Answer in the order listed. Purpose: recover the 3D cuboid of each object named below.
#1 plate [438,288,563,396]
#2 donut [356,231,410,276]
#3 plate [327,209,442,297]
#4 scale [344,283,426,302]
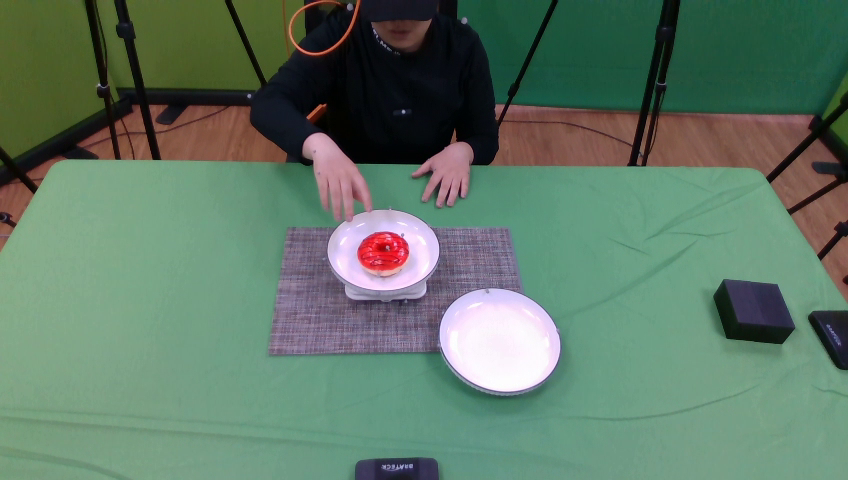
[{"bbox_3d":[0.127,0.173,1.025,0.209,0.038,0.208,3,48,-3],"label":"plate"},{"bbox_3d":[-0.073,0.022,1.097,0.099,0.048,0.098,0,45,0],"label":"donut"},{"bbox_3d":[-0.071,0.027,1.110,0.208,0.039,0.206,2,46,-1],"label":"plate"},{"bbox_3d":[-0.075,0.033,1.149,0.149,0.032,0.199,0,46,-5],"label":"scale"}]
